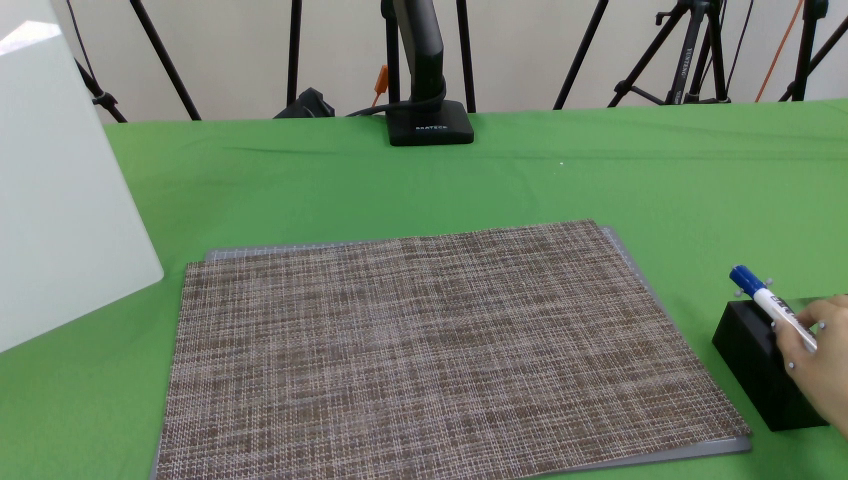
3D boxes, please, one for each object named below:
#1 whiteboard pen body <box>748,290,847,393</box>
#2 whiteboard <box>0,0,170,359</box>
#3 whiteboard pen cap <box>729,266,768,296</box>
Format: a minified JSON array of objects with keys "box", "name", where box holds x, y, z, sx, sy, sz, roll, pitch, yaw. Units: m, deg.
[{"box":[0.302,0.075,0.491,0.017,0.017,0.139,-9,36,-13],"name":"whiteboard pen body"},{"box":[-0.408,-0.064,0.539,0.217,0.307,0.142,-29,27,-33],"name":"whiteboard"},{"box":[0.288,0.039,0.537,0.018,0.018,0.033,-8,35,-11],"name":"whiteboard pen cap"}]
